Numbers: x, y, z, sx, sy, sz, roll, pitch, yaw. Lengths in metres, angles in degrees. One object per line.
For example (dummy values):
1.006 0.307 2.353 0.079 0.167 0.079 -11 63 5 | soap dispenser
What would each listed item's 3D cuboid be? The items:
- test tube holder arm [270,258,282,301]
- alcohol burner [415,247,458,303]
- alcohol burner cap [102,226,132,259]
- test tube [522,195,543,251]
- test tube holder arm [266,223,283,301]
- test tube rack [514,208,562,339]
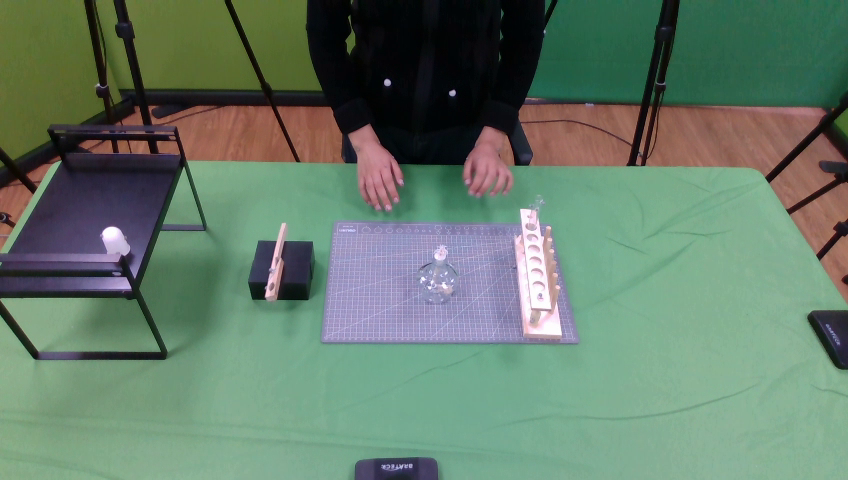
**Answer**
-0.257 0.067 1.049 0.010 0.015 0.087 -4 46 -1 | test tube holder arm
0.024 0.057 1.078 0.078 0.119 0.077 3 44 -2 | alcohol burner
-0.457 0.001 0.897 0.034 0.048 0.033 2 46 -2 | alcohol burner cap
0.200 -0.028 1.125 0.017 0.151 0.017 1 50 -1 | test tube
-0.266 0.035 1.080 0.013 0.015 0.177 -5 46 -2 | test tube holder arm
0.212 0.056 1.113 0.067 0.085 0.241 3 46 -1 | test tube rack
